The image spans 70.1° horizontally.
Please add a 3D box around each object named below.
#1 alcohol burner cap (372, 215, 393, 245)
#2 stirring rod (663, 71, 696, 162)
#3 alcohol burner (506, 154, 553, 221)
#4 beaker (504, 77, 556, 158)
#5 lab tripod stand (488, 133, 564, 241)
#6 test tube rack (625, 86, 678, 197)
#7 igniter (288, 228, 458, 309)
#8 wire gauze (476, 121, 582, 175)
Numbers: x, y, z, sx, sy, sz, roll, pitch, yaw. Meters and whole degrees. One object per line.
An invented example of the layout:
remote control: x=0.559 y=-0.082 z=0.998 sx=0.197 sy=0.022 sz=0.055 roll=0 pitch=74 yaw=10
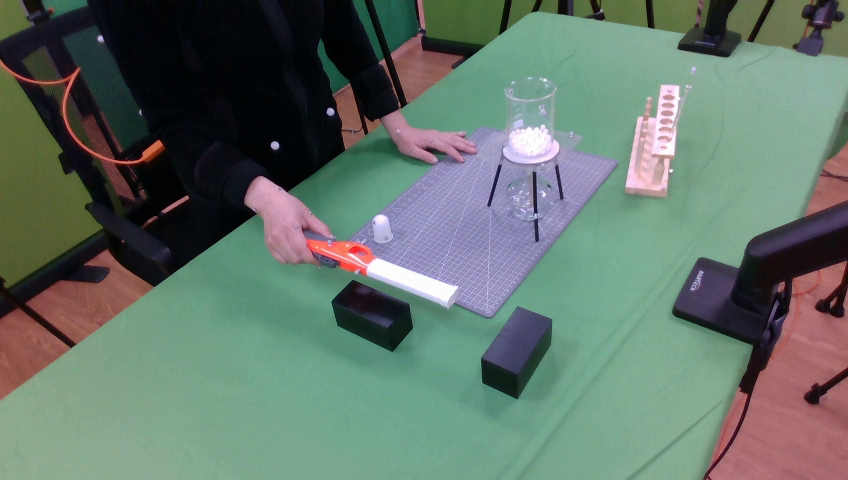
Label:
alcohol burner cap: x=-0.070 y=-0.019 z=0.990 sx=0.034 sy=0.048 sz=0.033 roll=-4 pitch=41 yaw=4
stirring rod: x=0.410 y=-0.195 z=0.981 sx=0.014 sy=0.177 sz=0.006 roll=11 pitch=50 yaw=13
alcohol burner: x=0.171 y=-0.090 z=0.985 sx=0.078 sy=0.119 sz=0.077 roll=-5 pitch=42 yaw=5
beaker: x=0.160 y=-0.181 z=0.900 sx=0.084 sy=0.101 sz=0.073 roll=-32 pitch=46 yaw=-27
lab tripod stand: x=0.168 y=-0.092 z=0.972 sx=0.148 sy=0.132 sz=0.147 roll=-5 pitch=41 yaw=5
test tube rack: x=0.412 y=-0.184 z=1.088 sx=0.066 sy=0.085 sz=0.242 roll=9 pitch=43 yaw=18
igniter: x=-0.080 y=0.034 z=0.831 sx=0.275 sy=0.025 sz=0.057 roll=19 pitch=42 yaw=24
wire gauze: x=0.162 y=-0.142 z=0.929 sx=0.120 sy=0.011 sz=0.125 roll=19 pitch=49 yaw=32
